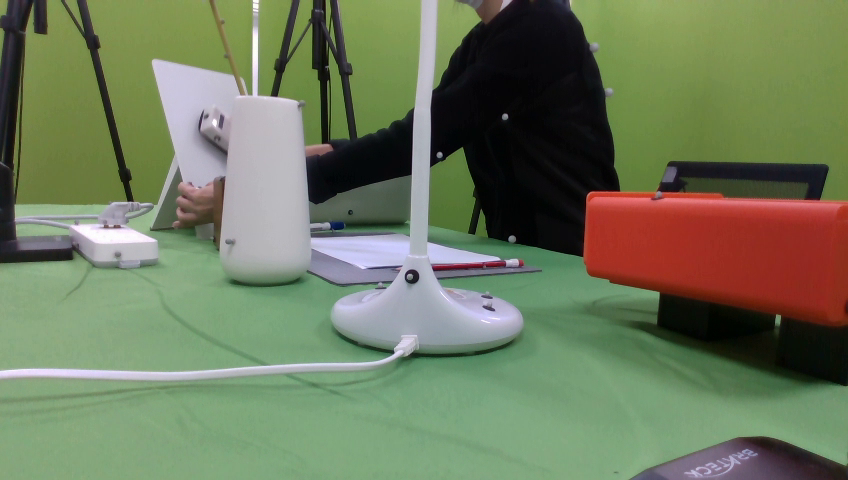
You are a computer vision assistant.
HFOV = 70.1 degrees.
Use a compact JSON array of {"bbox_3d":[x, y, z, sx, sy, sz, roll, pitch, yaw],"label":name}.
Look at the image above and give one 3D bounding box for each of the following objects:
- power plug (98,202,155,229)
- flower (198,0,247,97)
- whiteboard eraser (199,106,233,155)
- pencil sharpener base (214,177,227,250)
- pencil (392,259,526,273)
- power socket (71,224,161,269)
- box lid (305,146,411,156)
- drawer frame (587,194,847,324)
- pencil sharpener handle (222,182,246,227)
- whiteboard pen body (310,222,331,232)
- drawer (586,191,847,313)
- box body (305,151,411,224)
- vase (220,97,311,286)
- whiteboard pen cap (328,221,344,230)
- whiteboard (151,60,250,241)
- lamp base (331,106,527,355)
[{"bbox_3d":[-0.416,-0.026,0.848,0.073,0.052,0.035,0,8,-28],"label":"power plug"},{"bbox_3d":[-0.187,-0.133,0.648,0.038,0.362,0.044,-1,22,43],"label":"flower"},{"bbox_3d":[-0.340,-0.179,1.054,0.041,0.055,0.113,-20,-34,22],"label":"whiteboard eraser"},{"bbox_3d":[-0.265,-0.036,0.870,0.061,0.107,0.076,-2,8,-29],"label":"pencil sharpener base"},{"bbox_3d":[0.049,0.035,0.782,0.195,0.012,0.012,-2,9,-25],"label":"pencil"},{"bbox_3d":[-0.408,0.004,0.793,0.072,0.032,0.225,-2,8,-38],"label":"power socket"},{"bbox_3d":[-0.229,-0.200,1.360,0.373,0.015,0.262,-3,9,-33],"label":"box lid"},{"bbox_3d":[0.285,0.004,0.508,0.203,0.082,0.212,-1,6,-29],"label":"drawer frame"},{"bbox_3d":[-0.290,-0.055,0.912,0.036,0.067,0.030,-1,7,-29],"label":"pencil sharpener handle"},{"bbox_3d":[-0.208,-0.022,1.082,0.017,0.017,0.141,9,12,40],"label":"whiteboard pen body"},{"bbox_3d":[0.282,0.001,0.513,0.195,0.073,0.210,-1,8,-29],"label":"drawer"},{"bbox_3d":[-0.230,-0.126,1.371,0.366,0.160,0.253,-2,9,-33],"label":"box body"},{"bbox_3d":[-0.172,-0.052,0.662,0.098,0.200,0.098,3,8,0],"label":"vase"},{"bbox_3d":[-0.166,-0.027,1.124,0.018,0.018,0.033,9,11,40],"label":"whiteboard pen cap"},{"bbox_3d":[-0.408,-0.139,1.094,0.143,0.305,0.218,-15,-1,26],"label":"whiteboard"},{"bbox_3d":[0.006,-0.012,0.478,0.161,0.180,0.179,2,10,2],"label":"lamp base"}]
